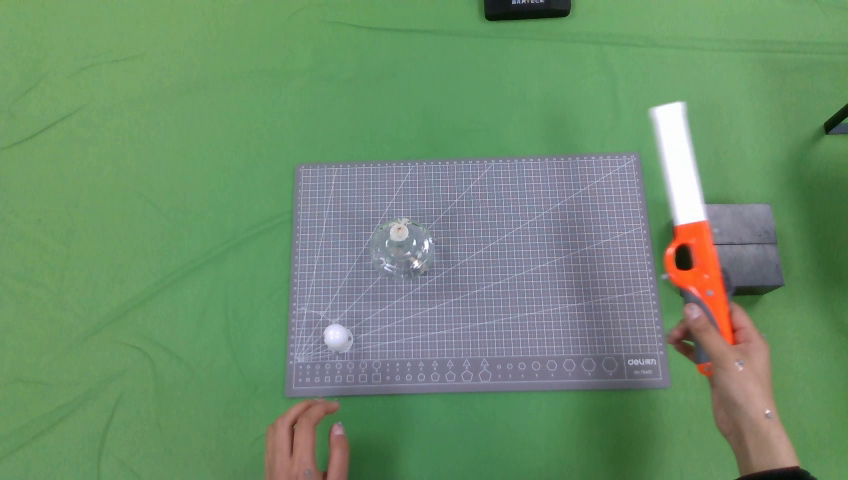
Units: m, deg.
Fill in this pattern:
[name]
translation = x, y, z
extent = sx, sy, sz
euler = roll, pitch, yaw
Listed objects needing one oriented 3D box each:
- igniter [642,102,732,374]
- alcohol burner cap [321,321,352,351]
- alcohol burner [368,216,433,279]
[igniter]
translation = 0.265, -0.005, 0.612
extent = 0.057, 0.025, 0.275
euler = -11, 81, 13
[alcohol burner cap]
translation = -0.104, 0.111, 0.709
extent = 0.034, 0.048, 0.033
euler = -1, 73, 3
[alcohol burner]
translation = -0.028, 0.003, 0.702
extent = 0.078, 0.120, 0.077
euler = 0, 72, 0
